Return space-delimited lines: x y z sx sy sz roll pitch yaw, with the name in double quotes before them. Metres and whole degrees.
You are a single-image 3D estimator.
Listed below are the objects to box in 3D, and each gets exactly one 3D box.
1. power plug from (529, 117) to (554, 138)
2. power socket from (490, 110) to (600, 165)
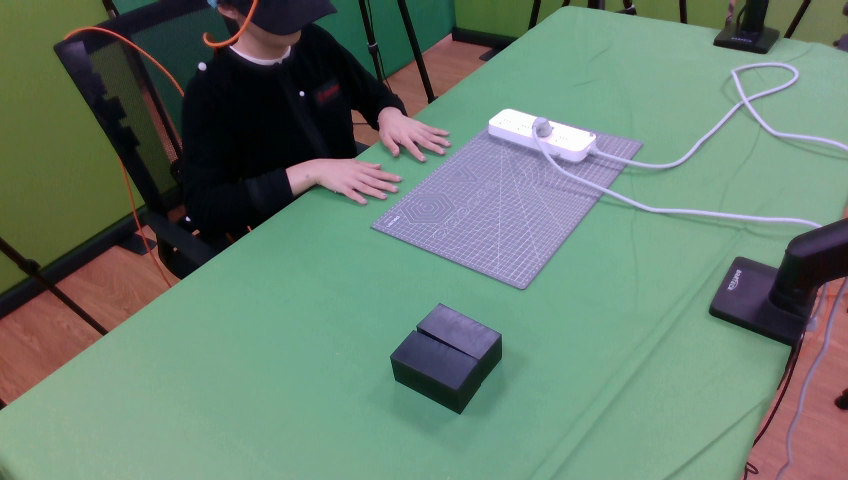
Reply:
"power plug" 0.212 -0.201 1.131 0.073 0.053 0.035 -29 44 -25
"power socket" 0.226 -0.201 1.167 0.225 0.033 0.072 26 52 33
